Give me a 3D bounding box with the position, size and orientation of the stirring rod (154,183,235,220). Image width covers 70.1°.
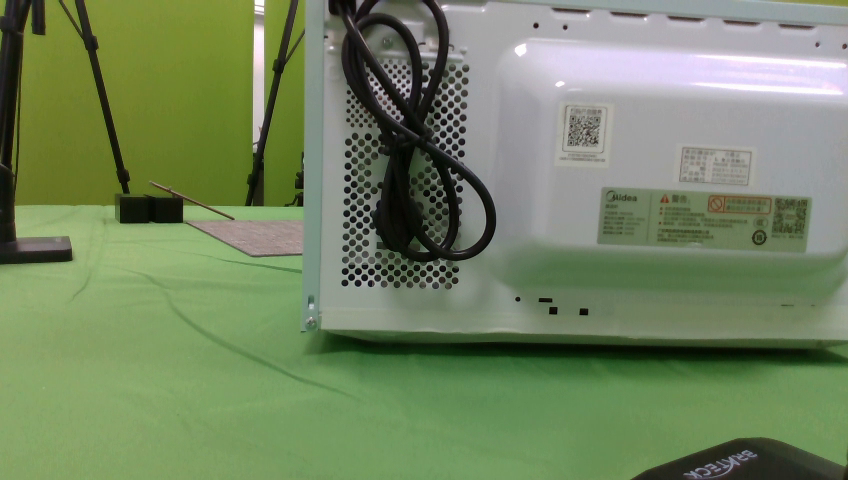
[{"bbox_3d":[-0.472,-0.079,1.252,0.177,0.006,0.014,27,3,-35],"label":"stirring rod"}]

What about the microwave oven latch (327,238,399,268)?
[{"bbox_3d":[-0.069,0.015,0.694,0.079,0.029,0.030,3,7,-3],"label":"microwave oven latch"}]

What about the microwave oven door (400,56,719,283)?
[{"bbox_3d":[0.155,-0.077,0.697,0.356,0.243,0.039,2,8,-5],"label":"microwave oven door"}]

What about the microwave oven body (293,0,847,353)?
[{"bbox_3d":[0.122,-0.055,0.550,0.442,0.260,0.325,3,7,-5],"label":"microwave oven body"}]
